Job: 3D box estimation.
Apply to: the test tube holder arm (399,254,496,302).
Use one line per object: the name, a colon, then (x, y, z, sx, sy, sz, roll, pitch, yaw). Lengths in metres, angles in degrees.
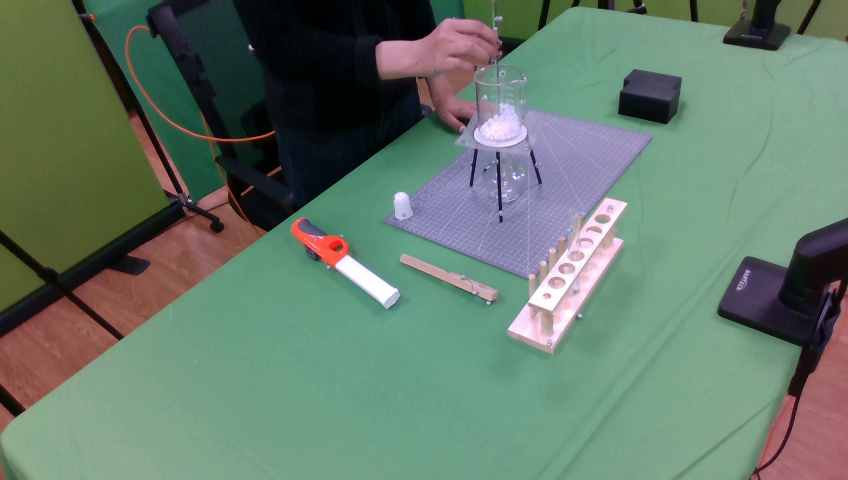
test tube holder arm: (0.032, 0.055, 0.914, 0.177, 0.015, 0.013, 21, 15, 32)

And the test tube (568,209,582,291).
test tube: (0.200, 0.018, 0.799, 0.017, 0.151, 0.017, -8, 45, 8)

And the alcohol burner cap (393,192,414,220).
alcohol burner cap: (-0.038, -0.061, 1.043, 0.034, 0.048, 0.033, -5, 40, 5)

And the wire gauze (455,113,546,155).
wire gauze: (0.124, -0.175, 0.973, 0.124, 0.011, 0.121, 8, 39, 21)

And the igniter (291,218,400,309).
igniter: (-0.136, 0.031, 0.970, 0.057, 0.025, 0.274, -41, 49, -19)

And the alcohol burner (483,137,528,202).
alcohol burner: (0.138, -0.125, 1.030, 0.078, 0.119, 0.077, -4, 41, 4)

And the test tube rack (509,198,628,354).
test tube rack: (0.206, 0.039, 0.850, 0.066, 0.085, 0.243, 20, 48, 31)

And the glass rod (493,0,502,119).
glass rod: (0.113, -0.270, 0.923, 0.008, 0.201, 0.008, -5, 45, 6)

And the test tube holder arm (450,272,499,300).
test tube holder arm: (0.071, 0.068, 0.894, 0.087, 0.015, 0.010, 21, 15, 33)

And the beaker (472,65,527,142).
beaker: (0.120, -0.211, 0.942, 0.083, 0.101, 0.074, 10, 42, 22)

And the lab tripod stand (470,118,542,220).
lab tripod stand: (0.135, -0.128, 1.019, 0.148, 0.132, 0.147, -5, 38, 5)
